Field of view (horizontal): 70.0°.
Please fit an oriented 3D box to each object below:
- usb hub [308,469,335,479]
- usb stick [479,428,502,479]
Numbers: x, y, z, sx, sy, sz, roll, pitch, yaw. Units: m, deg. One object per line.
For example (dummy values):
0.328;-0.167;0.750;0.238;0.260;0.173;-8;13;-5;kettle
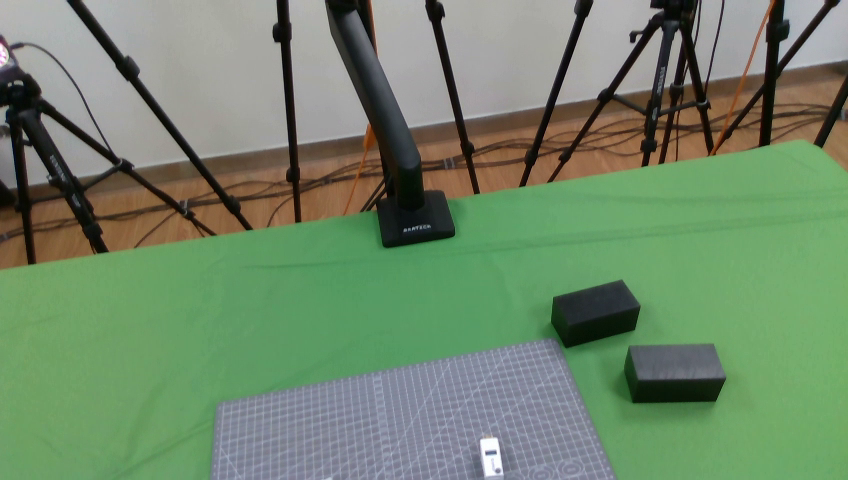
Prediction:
-0.148;0.297;0.648;0.125;0.025;0.049;-22;45;-17;usb hub
0.075;0.238;0.688;0.021;0.027;0.058;-7;41;2;usb stick
